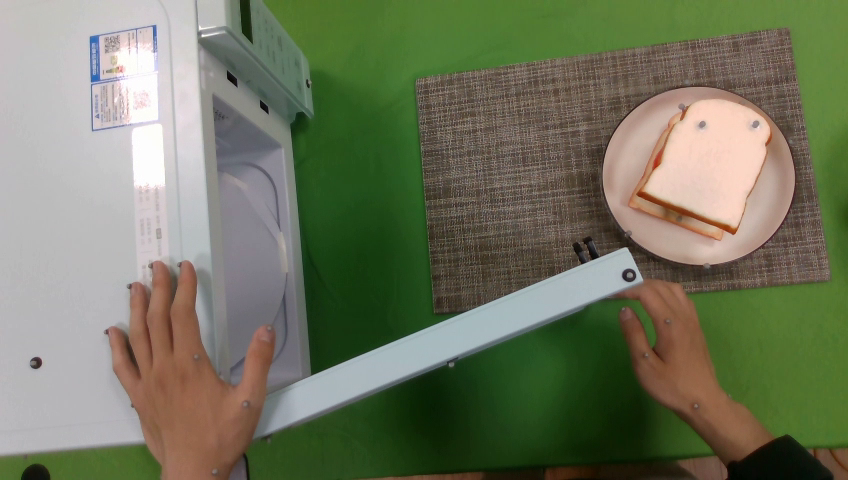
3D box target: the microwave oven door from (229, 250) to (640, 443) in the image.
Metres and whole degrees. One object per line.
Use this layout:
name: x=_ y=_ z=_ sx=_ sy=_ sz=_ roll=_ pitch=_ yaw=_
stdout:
microwave oven door: x=0.020 y=0.099 z=0.597 sx=0.356 sy=0.245 sz=0.039 roll=-24 pitch=79 yaw=5

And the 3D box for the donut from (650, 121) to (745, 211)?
donut: x=0.299 y=-0.081 z=0.666 sx=0.099 sy=0.048 sz=0.099 roll=-1 pitch=85 yaw=9

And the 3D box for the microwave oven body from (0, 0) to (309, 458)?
microwave oven body: x=-0.302 y=-0.021 z=0.662 sx=0.326 sy=0.261 sz=0.440 roll=-8 pitch=83 yaw=7

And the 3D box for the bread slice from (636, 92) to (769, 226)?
bread slice: x=0.298 y=-0.093 z=0.637 sx=0.104 sy=0.019 sz=0.131 roll=23 pitch=85 yaw=16

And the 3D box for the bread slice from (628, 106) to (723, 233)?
bread slice: x=0.305 y=-0.086 z=0.694 sx=0.106 sy=0.018 sz=0.134 roll=19 pitch=86 yaw=10

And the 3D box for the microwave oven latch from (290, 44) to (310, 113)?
microwave oven latch: x=-0.162 y=-0.203 z=0.760 sx=0.030 sy=0.029 sz=0.079 roll=-7 pitch=83 yaw=7

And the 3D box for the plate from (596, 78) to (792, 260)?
plate: x=0.302 y=-0.079 z=0.693 sx=0.207 sy=0.039 sz=0.207 roll=-1 pitch=84 yaw=8
